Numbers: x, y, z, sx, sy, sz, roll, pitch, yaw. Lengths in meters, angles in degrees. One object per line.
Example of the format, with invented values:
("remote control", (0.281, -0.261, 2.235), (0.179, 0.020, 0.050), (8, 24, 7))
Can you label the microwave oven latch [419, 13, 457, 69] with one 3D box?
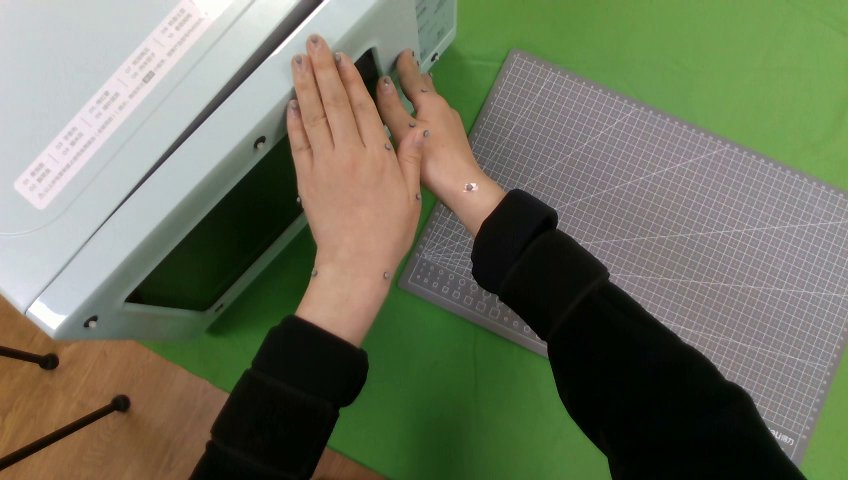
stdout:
("microwave oven latch", (0.003, -0.215, 0.653), (0.030, 0.029, 0.079), (41, 86, 6))

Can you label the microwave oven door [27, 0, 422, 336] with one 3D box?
("microwave oven door", (-0.137, -0.057, 0.532), (0.039, 0.244, 0.355), (42, 85, 7))

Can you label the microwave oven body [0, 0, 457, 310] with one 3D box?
("microwave oven body", (-0.228, -0.186, 0.558), (0.325, 0.261, 0.441), (39, 85, 6))

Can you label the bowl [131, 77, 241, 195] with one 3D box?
("bowl", (-0.234, -0.104, 0.578), (0.151, 0.077, 0.150), (-1, 78, 3))
